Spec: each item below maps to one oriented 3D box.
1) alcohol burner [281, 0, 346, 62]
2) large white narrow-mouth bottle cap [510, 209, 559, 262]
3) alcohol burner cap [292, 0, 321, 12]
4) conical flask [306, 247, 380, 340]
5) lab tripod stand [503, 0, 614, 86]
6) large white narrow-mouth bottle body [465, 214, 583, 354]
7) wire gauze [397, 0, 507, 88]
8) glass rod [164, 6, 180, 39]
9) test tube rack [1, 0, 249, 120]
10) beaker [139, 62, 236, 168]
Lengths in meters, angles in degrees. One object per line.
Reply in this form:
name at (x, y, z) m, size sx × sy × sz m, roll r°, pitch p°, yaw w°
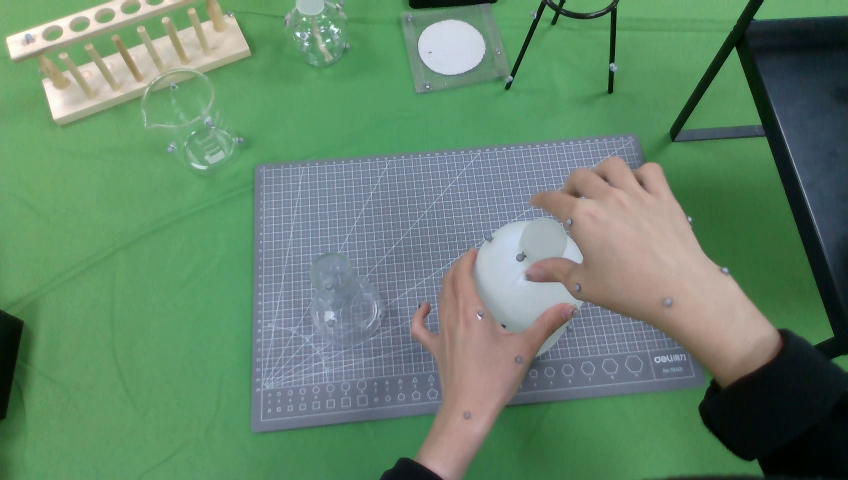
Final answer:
alcohol burner at (-0.134, -0.271, 0.718) m, size 0.078 × 0.120 × 0.077 m, roll 1°, pitch 65°, yaw -1°
large white narrow-mouth bottle cap at (0.085, -0.003, 0.463) m, size 0.038 × 0.024 × 0.037 m, roll -1°, pitch 67°, yaw 2°
alcohol burner cap at (-0.134, -0.287, 0.685) m, size 0.034 × 0.048 × 0.033 m, roll 4°, pitch 65°, yaw -8°
conical flask at (-0.083, 0.046, 0.577) m, size 0.075 × 0.123 × 0.075 m, roll 0°, pitch 67°, yaw 0°
lab tripod stand at (0.166, -0.250, 0.702) m, size 0.148 × 0.132 × 0.147 m, roll 1°, pitch 66°, yaw -2°
large white narrow-mouth bottle body at (0.089, 0.034, 0.546) m, size 0.102 × 0.196 × 0.101 m, roll -1°, pitch 67°, yaw 2°
wire gauze at (0.035, -0.254, 0.769) m, size 0.121 × 0.011 × 0.124 m, roll -9°, pitch 67°, yaw -6°
glass rod at (-0.299, -0.296, 0.669) m, size 0.008 × 0.201 × 0.008 m, roll 2°, pitch 64°, yaw -4°
test tube rack at (-0.343, -0.233, 0.715) m, size 0.242 × 0.086 × 0.066 m, roll -24°, pitch 69°, yaw -10°
beaker at (-0.256, -0.130, 0.665) m, size 0.073 × 0.101 × 0.084 m, roll 39°, pitch 72°, yaw 16°
